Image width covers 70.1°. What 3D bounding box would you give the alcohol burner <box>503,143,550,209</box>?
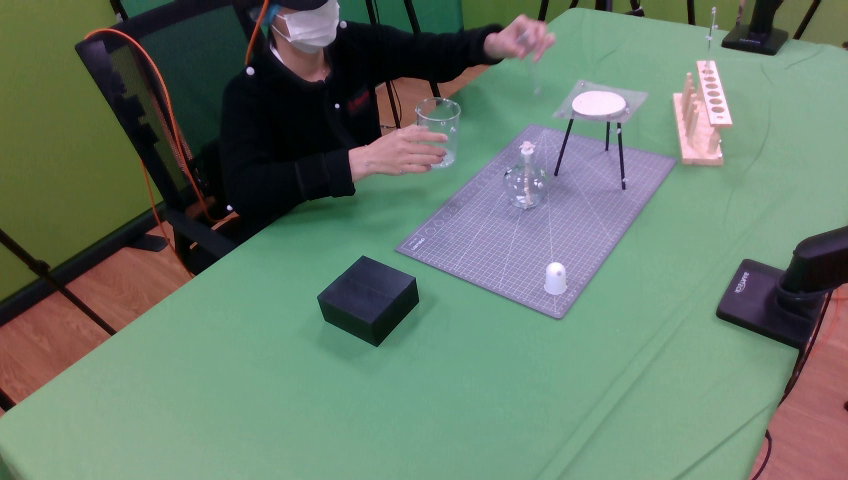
[{"bbox_3d":[0.171,-0.112,1.006,0.078,0.119,0.077,-3,41,3],"label":"alcohol burner"}]

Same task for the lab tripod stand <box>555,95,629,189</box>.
[{"bbox_3d":[0.300,-0.174,1.045,0.148,0.132,0.147,-5,38,5],"label":"lab tripod stand"}]

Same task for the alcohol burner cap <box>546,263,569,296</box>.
[{"bbox_3d":[0.191,0.053,0.862,0.034,0.048,0.033,-5,40,4],"label":"alcohol burner cap"}]

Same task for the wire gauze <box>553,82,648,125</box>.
[{"bbox_3d":[0.293,-0.226,1.002,0.120,0.011,0.125,17,45,27],"label":"wire gauze"}]

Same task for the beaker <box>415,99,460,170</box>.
[{"bbox_3d":[0.024,-0.177,1.019,0.073,0.100,0.084,22,45,22],"label":"beaker"}]

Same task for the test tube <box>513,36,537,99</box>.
[{"bbox_3d":[0.181,-0.304,1.077,0.017,0.151,0.017,-9,60,17],"label":"test tube"}]

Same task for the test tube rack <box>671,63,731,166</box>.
[{"bbox_3d":[0.513,-0.241,1.132,0.066,0.085,0.242,4,41,14],"label":"test tube rack"}]

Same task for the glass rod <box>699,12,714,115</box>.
[{"bbox_3d":[0.525,-0.323,1.124,0.008,0.201,0.008,-8,38,6],"label":"glass rod"}]
